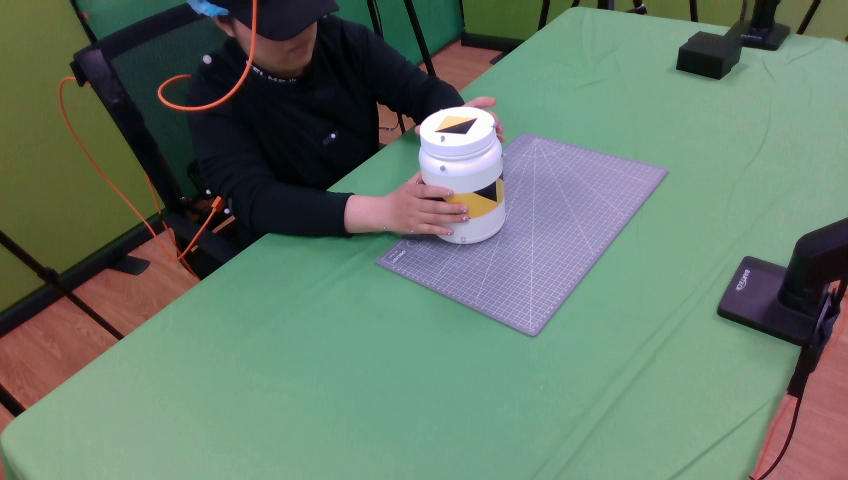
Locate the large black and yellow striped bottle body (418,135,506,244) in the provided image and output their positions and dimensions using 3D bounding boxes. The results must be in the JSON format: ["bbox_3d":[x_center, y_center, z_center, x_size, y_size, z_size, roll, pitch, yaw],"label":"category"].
[{"bbox_3d":[0.061,-0.100,0.959,0.131,0.185,0.130,-5,40,5],"label":"large black and yellow striped bottle body"}]

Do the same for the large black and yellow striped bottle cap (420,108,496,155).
[{"bbox_3d":[0.050,-0.164,0.905,0.115,0.019,0.114,-5,38,5],"label":"large black and yellow striped bottle cap"}]
